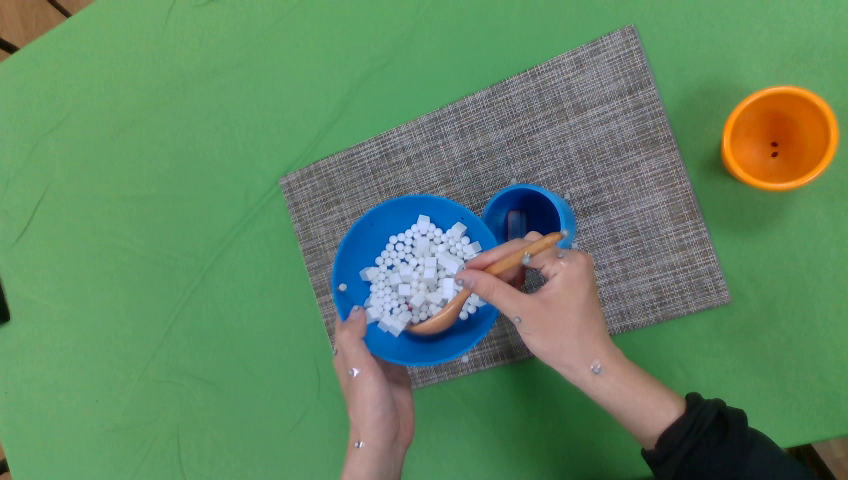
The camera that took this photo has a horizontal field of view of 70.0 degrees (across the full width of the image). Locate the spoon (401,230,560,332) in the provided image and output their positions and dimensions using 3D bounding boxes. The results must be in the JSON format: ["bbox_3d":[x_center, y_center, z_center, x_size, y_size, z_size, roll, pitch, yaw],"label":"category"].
[{"bbox_3d":[0.038,0.037,0.481,0.194,0.042,0.021,-45,60,46],"label":"spoon"}]

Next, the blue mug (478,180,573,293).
[{"bbox_3d":[0.101,-0.001,0.620,0.082,0.106,0.116,20,99,17],"label":"blue mug"}]

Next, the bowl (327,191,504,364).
[{"bbox_3d":[-0.006,0.038,0.551,0.151,0.077,0.150,0,77,0],"label":"bowl"}]
